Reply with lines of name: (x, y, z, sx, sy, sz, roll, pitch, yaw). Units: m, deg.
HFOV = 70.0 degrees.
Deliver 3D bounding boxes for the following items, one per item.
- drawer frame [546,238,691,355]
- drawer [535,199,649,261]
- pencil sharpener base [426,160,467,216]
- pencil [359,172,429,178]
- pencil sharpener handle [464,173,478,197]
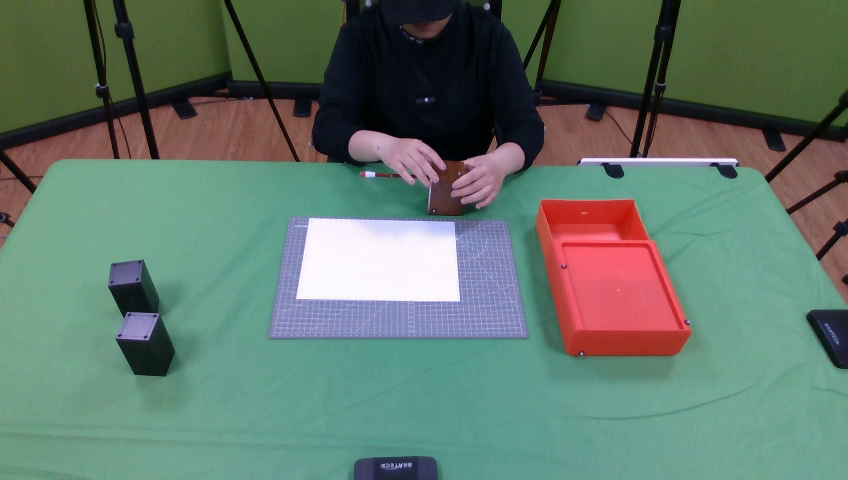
drawer frame: (0.338, 0.097, 1.086, 0.202, 0.083, 0.212, 0, 46, -4)
drawer: (0.332, 0.015, 1.169, 0.195, 0.073, 0.210, 0, 46, -5)
pencil sharpener base: (0.046, -0.105, 1.245, 0.077, 0.107, 0.061, 3, 45, -2)
pencil: (-0.033, -0.129, 1.224, 0.194, 0.012, 0.012, 1, 45, -2)
pencil sharpener handle: (0.098, -0.112, 1.239, 0.030, 0.068, 0.036, 3, 53, -2)
